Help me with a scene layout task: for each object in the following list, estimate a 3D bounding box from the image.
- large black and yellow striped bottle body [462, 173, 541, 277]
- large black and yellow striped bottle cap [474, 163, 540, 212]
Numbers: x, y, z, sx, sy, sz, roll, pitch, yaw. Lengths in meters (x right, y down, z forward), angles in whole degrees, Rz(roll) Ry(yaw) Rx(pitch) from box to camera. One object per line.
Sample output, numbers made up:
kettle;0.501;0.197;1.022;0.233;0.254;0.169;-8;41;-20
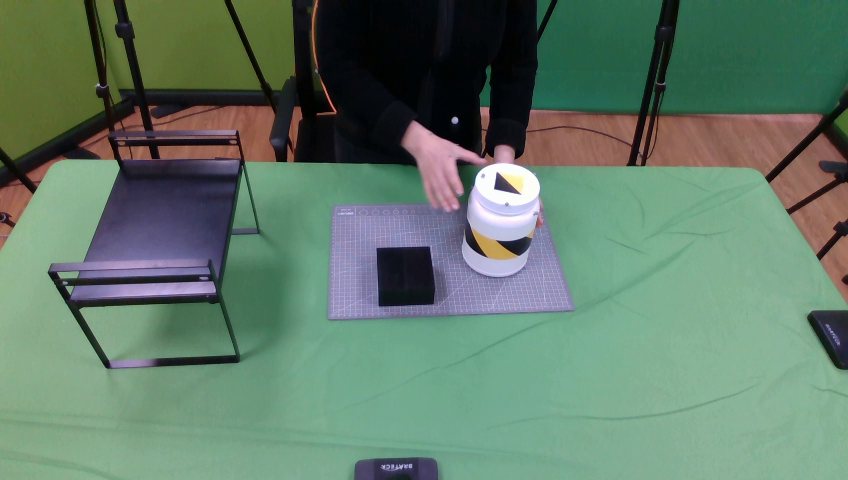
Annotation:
large black and yellow striped bottle body;0.143;-0.035;1.123;0.131;0.185;0.130;2;46;-2
large black and yellow striped bottle cap;0.146;-0.095;1.064;0.115;0.019;0.114;3;46;-3
